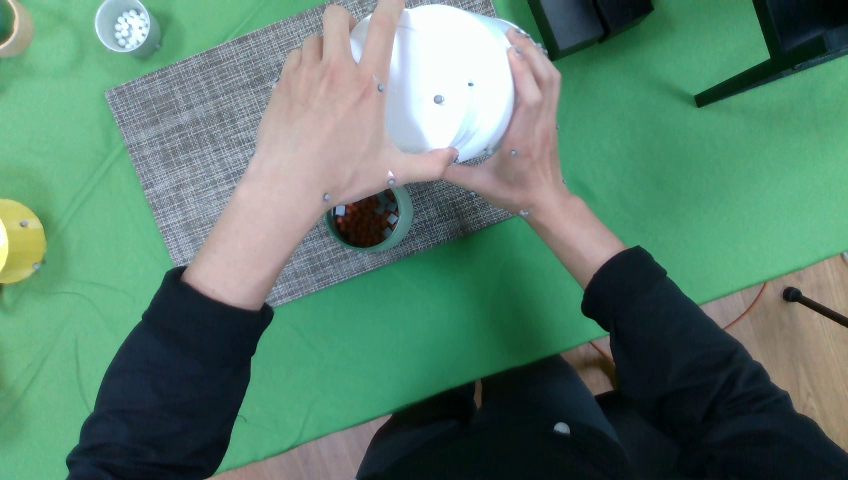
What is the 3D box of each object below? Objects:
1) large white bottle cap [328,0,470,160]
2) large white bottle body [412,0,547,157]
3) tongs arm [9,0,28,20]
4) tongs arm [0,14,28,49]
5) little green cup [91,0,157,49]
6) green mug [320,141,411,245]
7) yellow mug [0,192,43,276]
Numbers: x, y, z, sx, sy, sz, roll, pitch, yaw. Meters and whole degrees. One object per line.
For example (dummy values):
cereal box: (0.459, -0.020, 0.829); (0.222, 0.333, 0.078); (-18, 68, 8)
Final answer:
large white bottle cap: (-0.021, -0.117, 0.448); (0.114, 0.018, 0.115); (8, 109, 26)
large white bottle body: (0.027, -0.145, 0.545); (0.130, 0.184, 0.131); (7, 107, 24)
tongs arm: (-0.602, -0.320, 0.645); (0.387, 0.028, 0.028); (22, 87, 1)
tongs arm: (-0.621, -0.238, 0.649); (0.385, 0.026, 0.051); (8, 91, 2)
little green cup: (-0.332, -0.244, 0.676); (0.061, 0.038, 0.061); (0, 95, 0)
green mug: (-0.063, -0.056, 0.649); (0.092, 0.105, 0.125); (-4, 93, 2)
yellow mug: (-0.502, 0.010, 0.683); (0.100, 0.064, 0.131); (12, 95, 0)
